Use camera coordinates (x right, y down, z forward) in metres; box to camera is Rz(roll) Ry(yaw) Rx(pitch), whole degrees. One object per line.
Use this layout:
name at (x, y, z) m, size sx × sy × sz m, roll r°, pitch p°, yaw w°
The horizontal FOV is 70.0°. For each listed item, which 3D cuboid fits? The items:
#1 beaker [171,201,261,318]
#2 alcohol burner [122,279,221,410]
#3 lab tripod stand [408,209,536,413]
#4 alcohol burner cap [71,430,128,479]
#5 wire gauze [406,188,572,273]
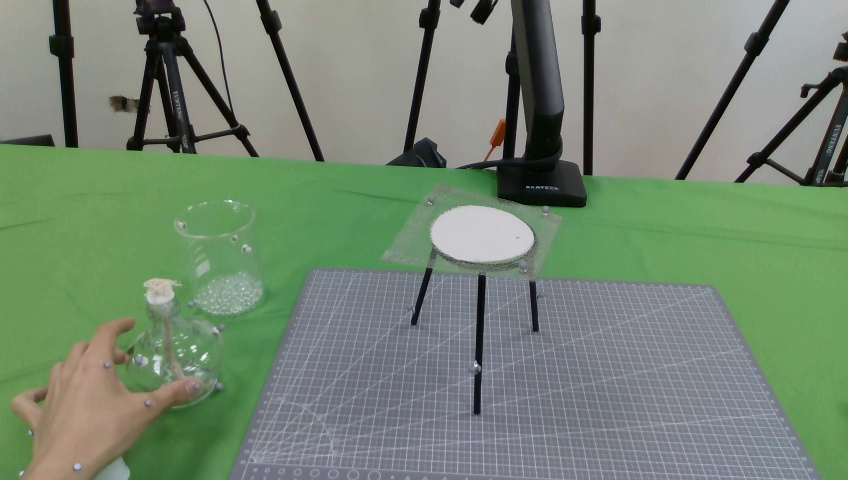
beaker at (-0.204, 0.020, 0.610) m, size 0.074 × 0.101 × 0.083 m, roll 10°, pitch 33°, yaw 11°
alcohol burner at (-0.210, 0.082, 0.501) m, size 0.078 × 0.120 × 0.077 m, roll 2°, pitch 31°, yaw -1°
lab tripod stand at (0.048, 0.053, 0.533) m, size 0.148 × 0.132 × 0.147 m, roll 2°, pitch 34°, yaw -1°
alcohol burner cap at (-0.239, 0.161, 0.441) m, size 0.034 × 0.048 × 0.033 m, roll -1°, pitch 26°, yaw 1°
wire gauze at (0.049, -0.014, 0.482) m, size 0.125 × 0.011 × 0.120 m, roll 8°, pitch 28°, yaw -4°
